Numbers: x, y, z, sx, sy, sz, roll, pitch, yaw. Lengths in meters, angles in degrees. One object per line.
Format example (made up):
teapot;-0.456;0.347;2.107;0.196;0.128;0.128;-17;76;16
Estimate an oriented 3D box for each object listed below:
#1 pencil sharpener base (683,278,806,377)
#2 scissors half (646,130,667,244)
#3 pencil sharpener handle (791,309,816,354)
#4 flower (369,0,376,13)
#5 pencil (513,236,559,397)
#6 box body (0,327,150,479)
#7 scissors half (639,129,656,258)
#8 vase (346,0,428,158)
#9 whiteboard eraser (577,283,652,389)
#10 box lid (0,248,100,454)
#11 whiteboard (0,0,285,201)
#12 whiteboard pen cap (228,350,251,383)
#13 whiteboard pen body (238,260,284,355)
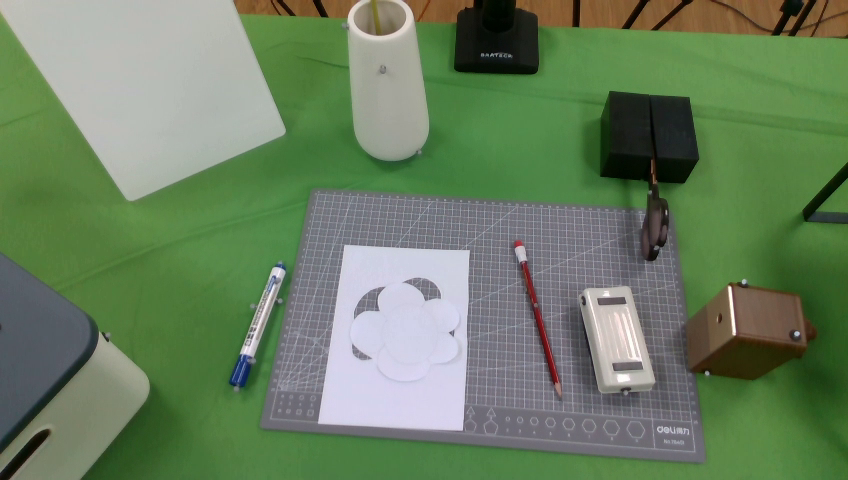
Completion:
pencil sharpener base;0.321;0.091;0.613;0.077;0.108;0.061;8;60;2
scissors half;0.268;-0.069;0.708;0.013;0.040;0.173;10;52;1
pencil sharpener handle;0.372;0.094;0.601;0.030;0.068;0.035;8;55;2
flower;-0.053;-0.242;0.655;0.044;0.365;0.038;-3;43;3
pencil;0.125;0.080;0.676;0.012;0.012;0.192;-8;63;-4
box body;-0.486;0.122;0.572;0.362;0.161;0.253;28;65;15
scissors half;0.268;-0.059;0.726;0.013;0.040;0.174;7;70;6
vase;-0.046;-0.189;0.721;0.098;0.201;0.097;-1;59;2
whiteboard eraser;0.200;0.102;0.644;0.055;0.042;0.111;-4;61;-1
box lid;-0.489;0.084;0.507;0.369;0.015;0.262;28;64;15
whiteboard;-0.337;-0.243;0.728;0.217;0.308;0.142;-27;45;-13
whiteboard pen cap;-0.194;0.134;0.643;0.018;0.018;0.033;9;57;6
whiteboard pen body;-0.183;0.084;0.673;0.017;0.017;0.139;10;60;6
